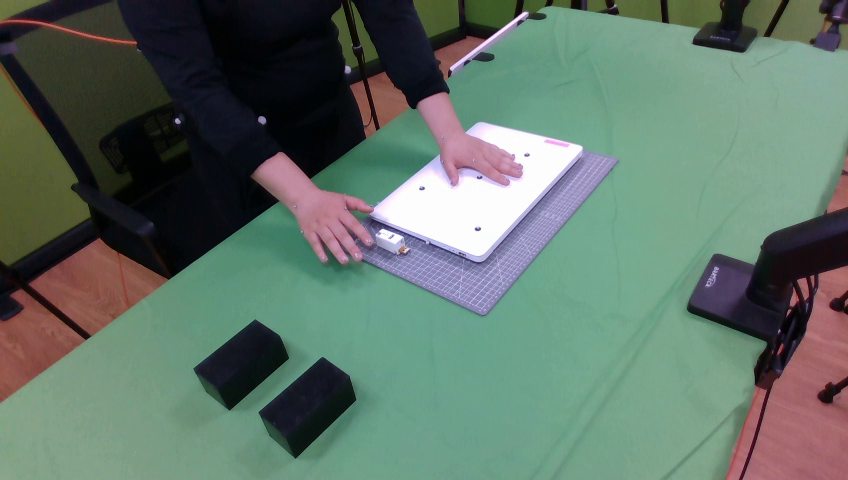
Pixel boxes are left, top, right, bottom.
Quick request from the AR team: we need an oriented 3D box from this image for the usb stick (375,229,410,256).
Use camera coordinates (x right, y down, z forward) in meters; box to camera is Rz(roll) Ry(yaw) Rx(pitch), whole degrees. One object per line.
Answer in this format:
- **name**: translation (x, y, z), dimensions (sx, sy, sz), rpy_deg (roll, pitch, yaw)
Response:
- **usb stick**: translation (-0.049, 0.006, 0.962), dimensions (0.059, 0.027, 0.021), rpy_deg (26, 49, 27)

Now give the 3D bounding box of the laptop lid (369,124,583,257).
- **laptop lid**: translation (0.098, -0.106, 1.065), dimensions (0.239, 0.013, 0.358), rpy_deg (22, 48, 33)

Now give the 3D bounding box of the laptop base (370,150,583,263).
- **laptop base**: translation (0.101, -0.096, 1.071), dimensions (0.233, 0.023, 0.355), rpy_deg (19, 47, 33)
